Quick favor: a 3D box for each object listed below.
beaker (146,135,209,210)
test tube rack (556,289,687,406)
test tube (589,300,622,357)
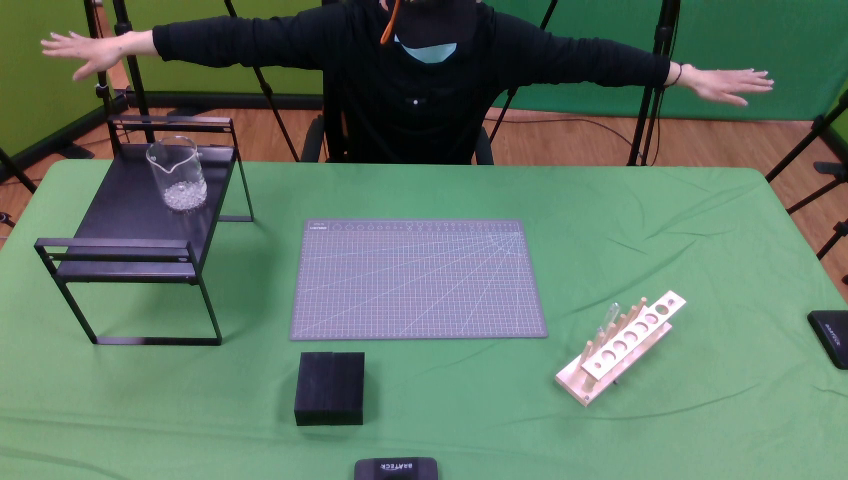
[{"bbox_3d":[-0.387,-0.102,0.961,0.074,0.101,0.083,-5,48,-7],"label":"beaker"},{"bbox_3d":[0.332,0.165,1.014,0.242,0.085,0.066,-31,55,-28],"label":"test tube rack"},{"bbox_3d":[0.288,0.144,0.970,0.017,0.151,0.017,2,49,-2],"label":"test tube"}]
